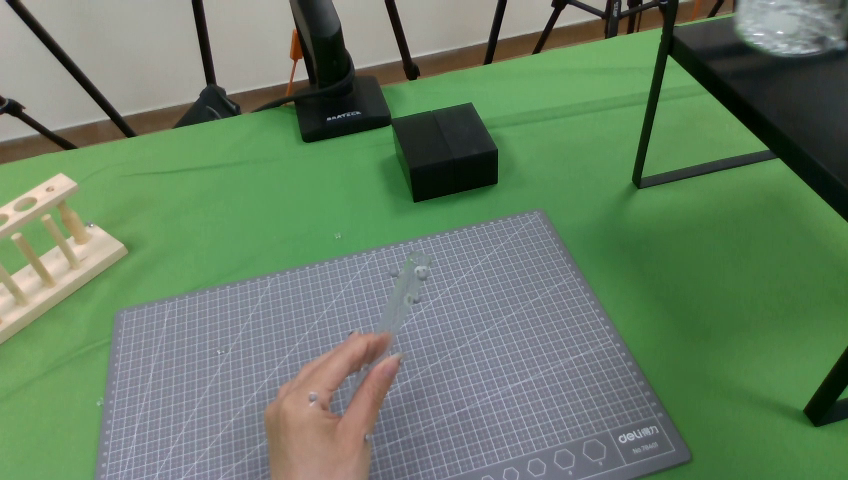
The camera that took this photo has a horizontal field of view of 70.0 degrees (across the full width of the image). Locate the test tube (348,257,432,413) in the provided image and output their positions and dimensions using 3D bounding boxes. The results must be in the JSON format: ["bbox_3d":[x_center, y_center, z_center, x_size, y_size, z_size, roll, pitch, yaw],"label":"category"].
[{"bbox_3d":[-0.027,0.072,0.424,0.017,0.151,0.017,17,34,-11],"label":"test tube"}]

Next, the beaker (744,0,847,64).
[{"bbox_3d":[0.247,-0.171,0.380,0.083,0.101,0.073,15,56,22],"label":"beaker"}]

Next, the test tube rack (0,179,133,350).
[{"bbox_3d":[-0.422,0.048,0.587,0.066,0.086,0.242,26,53,29],"label":"test tube rack"}]
